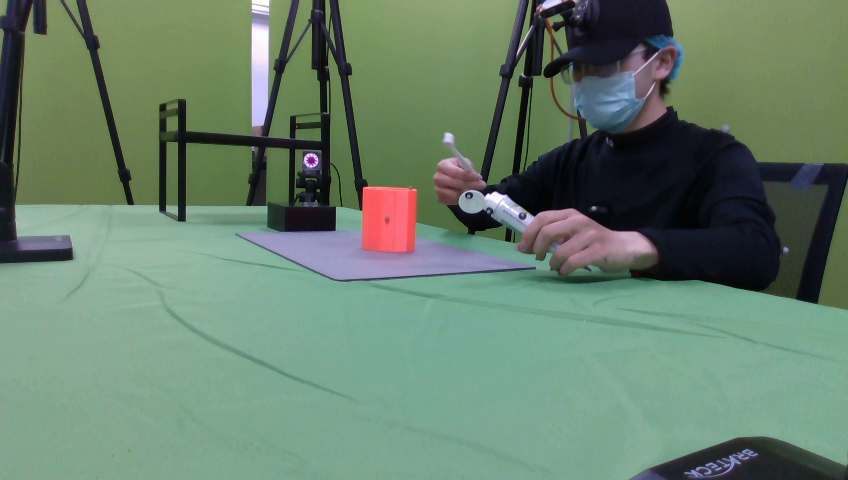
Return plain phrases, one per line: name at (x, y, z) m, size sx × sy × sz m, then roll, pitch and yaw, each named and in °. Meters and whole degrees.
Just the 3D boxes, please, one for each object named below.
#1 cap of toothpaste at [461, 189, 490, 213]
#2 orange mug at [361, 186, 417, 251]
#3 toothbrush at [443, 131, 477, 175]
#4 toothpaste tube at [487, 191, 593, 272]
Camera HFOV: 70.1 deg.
cap of toothpaste at (0.066, -0.052, 0.772) m, size 0.037 × 0.037 × 0.011 m, roll 3°, pitch 41°, yaw 3°
orange mug at (-0.054, -0.039, 0.962) m, size 0.083 × 0.101 × 0.126 m, roll 2°, pitch 12°, yaw 1°
toothbrush at (0.061, -0.137, 0.980) m, size 0.014 × 0.016 × 0.182 m, roll -4°, pitch -13°, yaw 18°
toothpaste tube at (0.146, -0.011, 0.771) m, size 0.165 × 0.034 × 0.055 m, roll 36°, pitch 17°, yaw 12°
